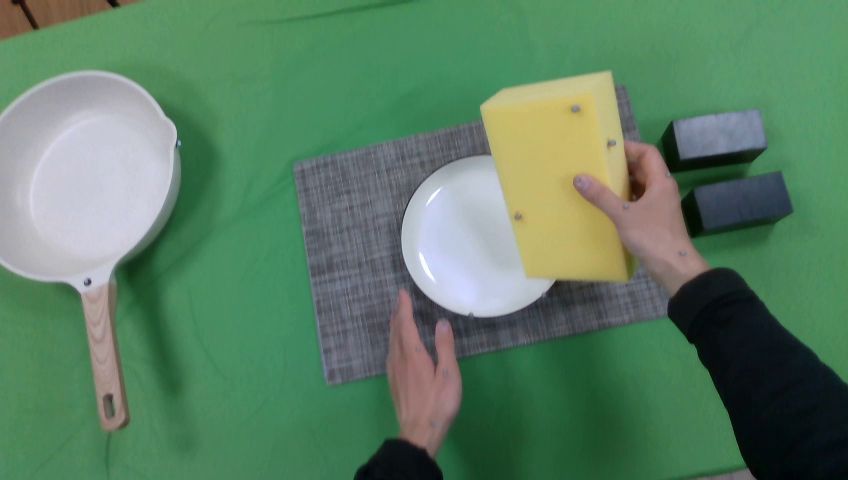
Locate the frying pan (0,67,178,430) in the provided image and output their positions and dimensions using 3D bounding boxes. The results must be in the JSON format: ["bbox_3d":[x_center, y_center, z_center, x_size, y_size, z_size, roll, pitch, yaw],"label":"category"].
[{"bbox_3d":[-0.432,0.005,0.779,0.307,0.103,0.484,-20,68,4],"label":"frying pan"}]

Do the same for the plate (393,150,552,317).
[{"bbox_3d":[0.067,-0.007,0.746,0.207,0.039,0.206,-1,78,7],"label":"plate"}]

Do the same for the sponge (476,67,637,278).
[{"bbox_3d":[0.143,-0.063,0.633,0.117,0.061,0.208,-2,119,35],"label":"sponge"}]
